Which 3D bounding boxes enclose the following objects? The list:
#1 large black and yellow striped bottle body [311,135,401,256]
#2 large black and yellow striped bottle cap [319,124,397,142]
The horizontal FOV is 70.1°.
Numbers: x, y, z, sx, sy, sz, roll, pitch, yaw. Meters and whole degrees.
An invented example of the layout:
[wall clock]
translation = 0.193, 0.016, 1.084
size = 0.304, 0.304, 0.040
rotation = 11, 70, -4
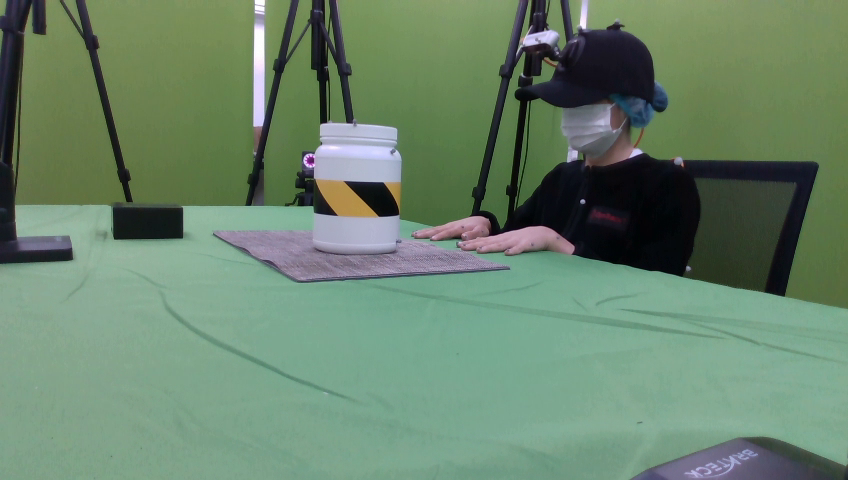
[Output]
[large black and yellow striped bottle body]
translation = -0.101, -0.075, 0.904
size = 0.131, 0.184, 0.130
rotation = 3, 7, 0
[large black and yellow striped bottle cap]
translation = -0.098, -0.158, 0.895
size = 0.115, 0.019, 0.115
rotation = 5, 7, 0
